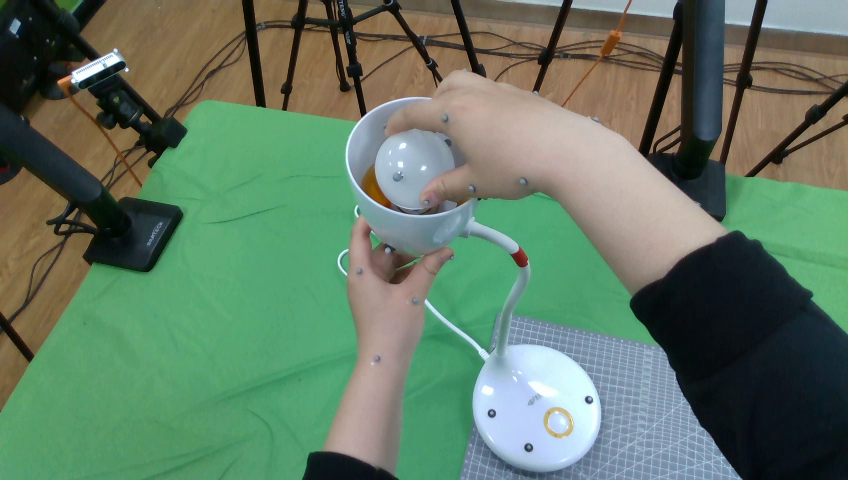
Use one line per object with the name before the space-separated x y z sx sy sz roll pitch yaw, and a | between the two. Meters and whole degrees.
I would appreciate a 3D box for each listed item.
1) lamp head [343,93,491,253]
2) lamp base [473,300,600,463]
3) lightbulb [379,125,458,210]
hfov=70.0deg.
lamp head | -0.002 -0.040 0.499 0.112 0.124 0.111 -2 60 3
lamp base | 0.126 0.152 0.707 0.177 0.182 0.160 34 65 27
lightbulb | -0.003 -0.047 0.474 0.059 0.108 0.059 -1 69 3
